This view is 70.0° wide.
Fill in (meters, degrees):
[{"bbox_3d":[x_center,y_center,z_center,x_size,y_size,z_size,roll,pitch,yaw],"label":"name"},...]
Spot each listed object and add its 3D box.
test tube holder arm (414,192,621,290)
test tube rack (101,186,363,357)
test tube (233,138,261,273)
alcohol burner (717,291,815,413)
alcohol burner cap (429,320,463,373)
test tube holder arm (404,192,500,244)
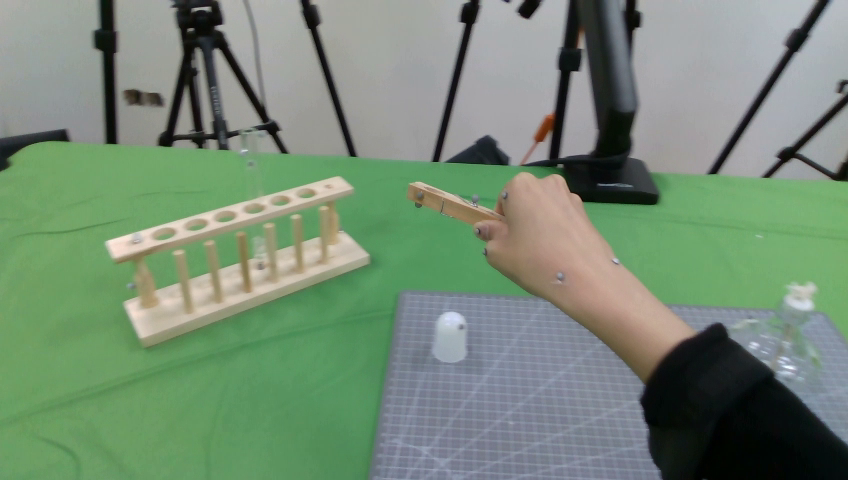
[{"bbox_3d":[0.060,-0.003,0.447,0.177,0.015,0.013,23,25,29],"label":"test tube holder arm"},{"bbox_3d":[-0.185,0.024,0.625,0.243,0.086,0.066,-20,39,-30],"label":"test tube rack"},{"bbox_3d":[-0.181,-0.031,0.620,0.017,0.151,0.017,3,29,-1],"label":"test tube"},{"bbox_3d":[0.296,0.089,0.517,0.078,0.120,0.077,2,35,-1],"label":"alcohol burner"},{"bbox_3d":[0.021,0.095,0.561,0.034,0.048,0.033,1,33,-1],"label":"alcohol burner cap"},{"bbox_3d":[0.021,-0.018,0.465,0.087,0.015,0.010,23,25,29],"label":"test tube holder arm"}]
